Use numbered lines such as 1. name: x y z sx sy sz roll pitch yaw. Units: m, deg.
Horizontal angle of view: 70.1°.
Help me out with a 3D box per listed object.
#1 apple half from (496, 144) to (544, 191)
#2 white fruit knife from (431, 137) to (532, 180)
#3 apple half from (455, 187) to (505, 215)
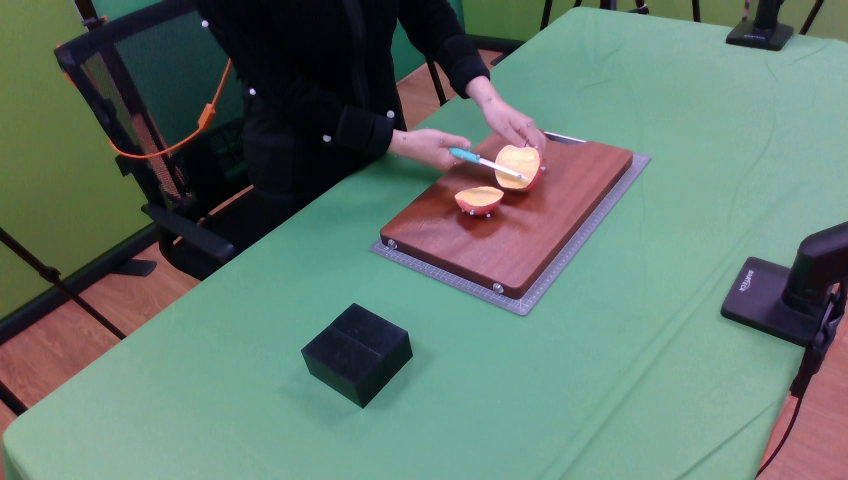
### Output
1. apple half: 0.165 -0.118 1.014 0.080 0.054 0.074 6 84 30
2. white fruit knife: 0.090 -0.134 0.995 0.206 0.016 0.027 26 31 31
3. apple half: 0.094 -0.060 0.988 0.081 0.033 0.081 -4 24 2
